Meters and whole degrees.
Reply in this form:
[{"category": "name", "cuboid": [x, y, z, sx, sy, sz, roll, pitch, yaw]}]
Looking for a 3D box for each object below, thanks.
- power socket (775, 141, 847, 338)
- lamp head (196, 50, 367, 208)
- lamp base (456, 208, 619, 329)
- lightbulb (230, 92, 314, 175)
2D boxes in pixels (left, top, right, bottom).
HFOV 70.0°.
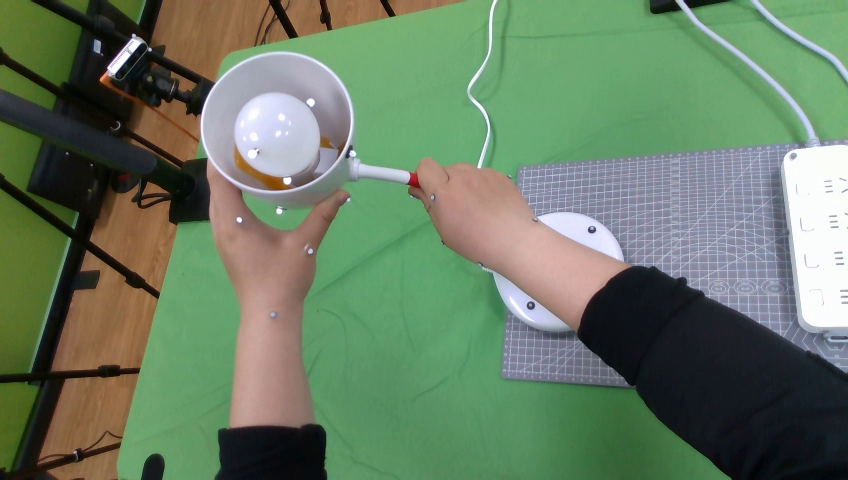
[{"category": "power socket", "cuboid": [0.433, -0.008, 0.658, 0.072, 0.033, 0.225, -3, 68, 23]}, {"category": "lamp head", "cuboid": [-0.105, -0.074, 0.490, 0.112, 0.123, 0.112, -1, 75, 5]}, {"category": "lamp base", "cuboid": [0.121, 0.009, 0.707, 0.178, 0.182, 0.159, -9, 66, 25]}, {"category": "lightbulb", "cuboid": [-0.111, -0.074, 0.466, 0.059, 0.108, 0.059, 0, 82, -1]}]
